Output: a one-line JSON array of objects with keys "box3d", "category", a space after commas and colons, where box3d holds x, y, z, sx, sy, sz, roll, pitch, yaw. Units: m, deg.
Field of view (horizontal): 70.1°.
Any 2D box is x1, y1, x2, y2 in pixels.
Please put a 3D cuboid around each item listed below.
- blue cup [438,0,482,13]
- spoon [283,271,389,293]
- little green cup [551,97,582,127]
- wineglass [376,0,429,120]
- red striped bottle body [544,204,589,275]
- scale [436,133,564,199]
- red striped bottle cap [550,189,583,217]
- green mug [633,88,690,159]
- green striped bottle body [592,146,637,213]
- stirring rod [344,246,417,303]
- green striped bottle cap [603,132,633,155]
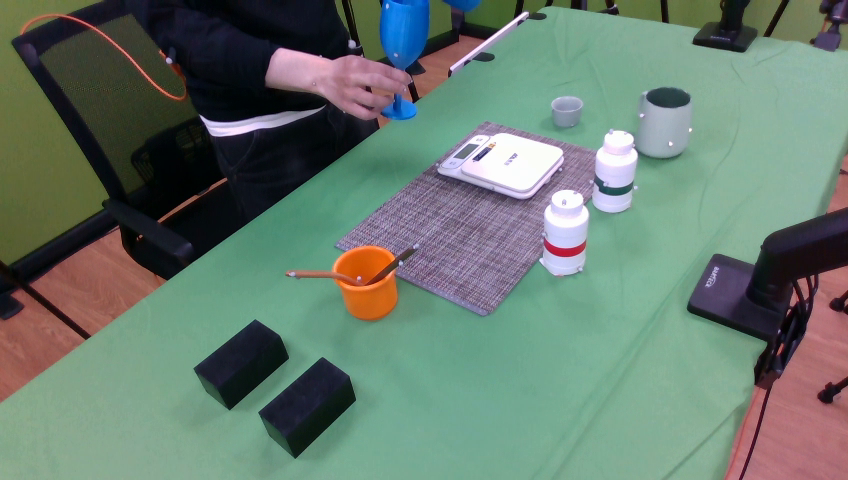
[{"box3d": [0.036, -0.373, 0.848, 0.101, 0.092, 0.092, 26, 29, -30], "category": "blue cup"}, {"box3d": [-0.117, 0.054, 0.825, 0.041, 0.195, 0.021, 16, 89, 38], "category": "spoon"}, {"box3d": [0.284, -0.255, 1.213, 0.061, 0.039, 0.061, -4, 41, 4], "category": "little green cup"}, {"box3d": [-0.035, -0.271, 0.899, 0.074, 0.172, 0.073, 5, 40, -4], "category": "wineglass"}, {"box3d": [0.206, -0.011, 0.877, 0.063, 0.120, 0.062, -5, 41, 5], "category": "red striped bottle body"}, {"box3d": [0.137, -0.142, 1.101, 0.199, 0.032, 0.149, 22, 48, 30], "category": "scale"}, {"box3d": [0.199, -0.052, 0.843, 0.044, 0.018, 0.044, -1, 42, 2], "category": "red striped bottle cap"}, {"box3d": [0.423, -0.217, 1.099, 0.093, 0.105, 0.124, -16, 41, -10], "category": "green mug"}, {"box3d": [0.307, -0.108, 0.976, 0.063, 0.120, 0.063, -4, 41, 4], "category": "green striped bottle body"}, {"box3d": [-0.062, 0.050, 0.819, 0.014, 0.175, 0.006, -2, 63, -40], "category": "stirring rod"}, {"box3d": [0.301, -0.149, 0.938, 0.044, 0.020, 0.044, -3, 39, 3], "category": "green striped bottle cap"}]
